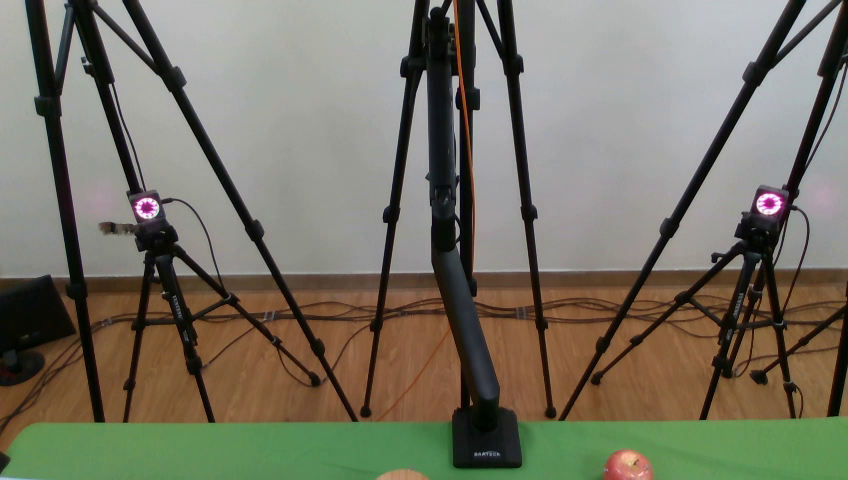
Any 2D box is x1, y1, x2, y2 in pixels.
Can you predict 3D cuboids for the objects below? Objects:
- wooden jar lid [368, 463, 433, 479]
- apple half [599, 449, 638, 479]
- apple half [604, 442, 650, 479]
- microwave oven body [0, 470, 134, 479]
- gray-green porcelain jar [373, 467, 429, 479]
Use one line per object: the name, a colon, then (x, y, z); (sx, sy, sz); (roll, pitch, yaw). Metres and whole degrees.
wooden jar lid: (-0.035, 0.368, 0.861); (0.108, 0.021, 0.107); (-1, 33, 1)
apple half: (0.307, 0.384, 0.980); (0.033, 0.082, 0.080); (-17, 38, -28)
apple half: (0.339, 0.373, 0.999); (0.053, 0.075, 0.080); (-16, 34, -28)
microwave oven body: (-0.525, 0.512, 0.656); (0.326, 0.262, 0.438); (2, 36, 4)
gray-green porcelain jar: (-0.034, 0.420, 0.898); (0.106, 0.127, 0.105); (-1, 35, 1)
